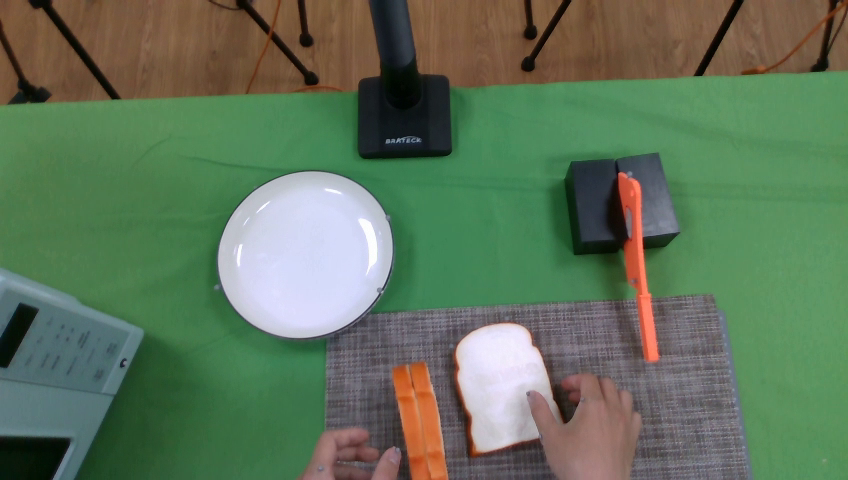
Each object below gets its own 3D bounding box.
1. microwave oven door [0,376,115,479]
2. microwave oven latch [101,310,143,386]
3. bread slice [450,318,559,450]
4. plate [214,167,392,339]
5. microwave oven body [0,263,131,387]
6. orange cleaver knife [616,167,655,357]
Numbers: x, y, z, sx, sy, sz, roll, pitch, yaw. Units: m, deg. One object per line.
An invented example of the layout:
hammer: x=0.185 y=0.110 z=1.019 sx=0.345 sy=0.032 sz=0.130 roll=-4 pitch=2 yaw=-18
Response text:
microwave oven door: x=-0.425 y=0.285 z=0.518 sx=0.039 sy=0.245 sz=0.354 roll=18 pitch=74 yaw=9
microwave oven latch: x=-0.344 y=0.121 z=0.674 sx=0.030 sy=0.029 sz=0.079 roll=20 pitch=75 yaw=8
bread slice: x=0.087 y=0.155 z=0.673 sx=0.107 sy=0.018 sz=0.134 roll=-10 pitch=82 yaw=-6
plate: x=-0.140 y=0.016 z=0.718 sx=0.207 sy=0.039 sz=0.206 roll=-1 pitch=72 yaw=2
microwave oven body: x=-0.548 y=0.205 z=0.555 sx=0.325 sy=0.261 sz=0.440 roll=18 pitch=75 yaw=8
orange cleaver knife: x=0.233 y=0.022 z=0.675 sx=0.012 sy=0.077 sz=0.211 roll=-7 pitch=93 yaw=3
